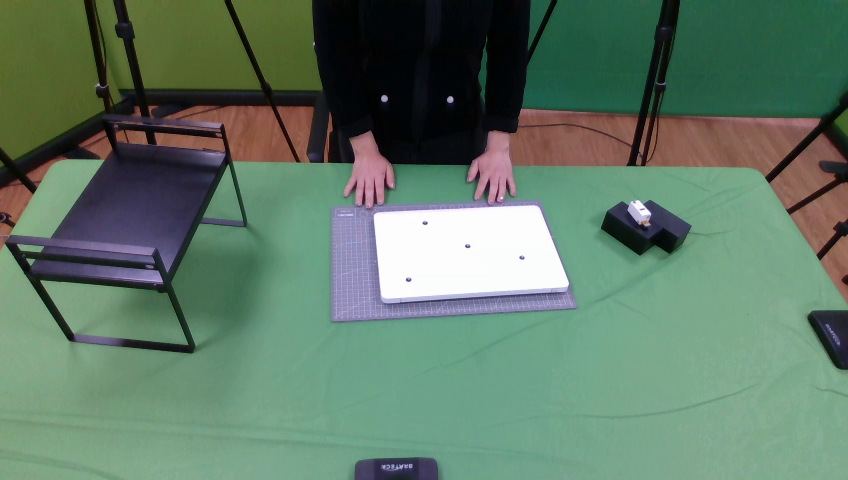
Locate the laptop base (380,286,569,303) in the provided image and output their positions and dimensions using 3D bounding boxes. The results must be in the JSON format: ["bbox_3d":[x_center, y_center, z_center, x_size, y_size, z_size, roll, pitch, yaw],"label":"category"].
[{"bbox_3d":[0.083,0.025,1.181,0.355,0.023,0.234,-3,43,-7],"label":"laptop base"}]

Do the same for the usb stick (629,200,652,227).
[{"bbox_3d":[0.433,-0.051,1.203,0.021,0.027,0.059,-11,50,-14],"label":"usb stick"}]

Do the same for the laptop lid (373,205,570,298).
[{"bbox_3d":[0.083,0.014,1.174,0.357,0.013,0.240,-2,44,-6],"label":"laptop lid"}]
